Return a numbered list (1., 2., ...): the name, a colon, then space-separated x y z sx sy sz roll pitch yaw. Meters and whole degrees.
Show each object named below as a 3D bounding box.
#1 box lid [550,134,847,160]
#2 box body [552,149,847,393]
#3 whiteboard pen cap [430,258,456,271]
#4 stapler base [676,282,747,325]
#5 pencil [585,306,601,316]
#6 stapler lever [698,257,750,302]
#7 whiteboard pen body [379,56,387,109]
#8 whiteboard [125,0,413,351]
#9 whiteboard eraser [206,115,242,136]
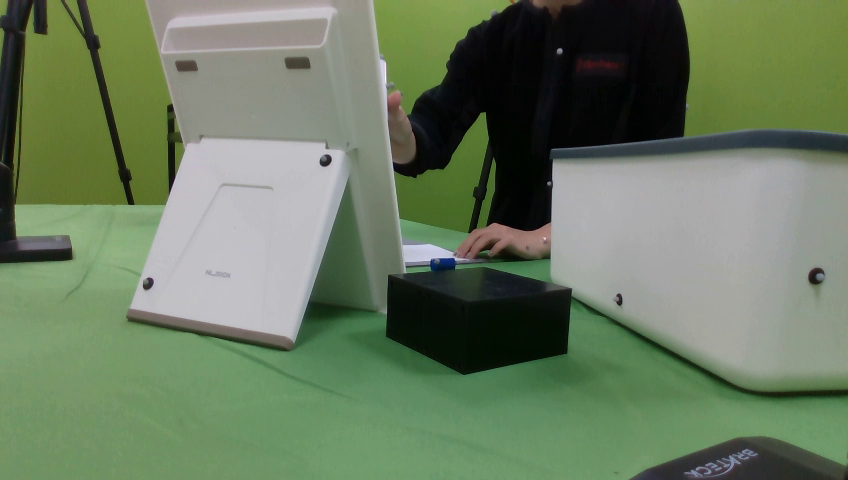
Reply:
1. box lid: 0.294 -0.071 0.538 0.264 0.015 0.370 2 6 -10
2. box body: 0.290 0.002 0.549 0.255 0.160 0.363 2 7 -10
3. whiteboard pen cap: 0.024 0.031 0.791 0.033 0.018 0.018 1 8 -13
4. stapler base: 0.283 0.057 0.585 0.041 0.024 0.131 31 18 33
5. pencil: 0.250 0.055 0.656 0.195 0.012 0.012 -12 13 -27
6. stapler lever: 0.291 0.035 0.580 0.026 0.040 0.119 31 20 33
7. whiteboard pen body: -0.050 -0.166 0.687 0.017 0.017 0.140 2 48 -6
8. whiteboard: -0.151 -0.050 0.471 0.216 0.305 0.144 6 27 24
9. whiteboard eraser: -0.438 -0.249 1.320 0.056 0.042 0.112 -3 9 -30
